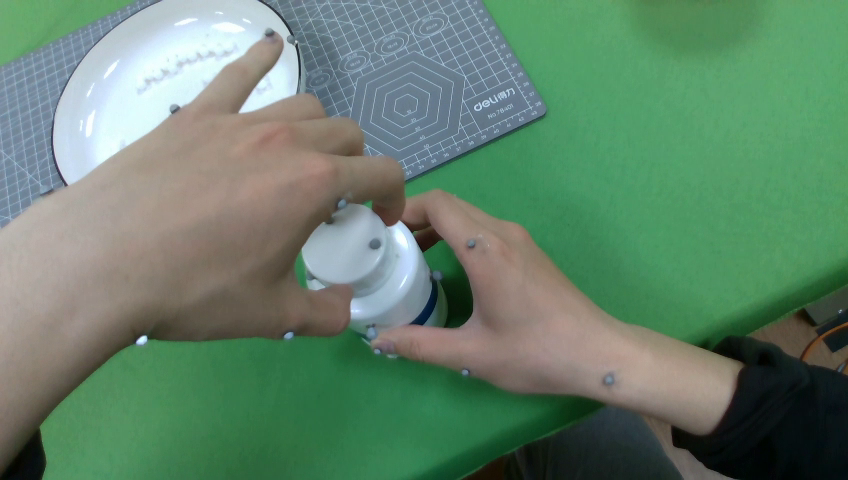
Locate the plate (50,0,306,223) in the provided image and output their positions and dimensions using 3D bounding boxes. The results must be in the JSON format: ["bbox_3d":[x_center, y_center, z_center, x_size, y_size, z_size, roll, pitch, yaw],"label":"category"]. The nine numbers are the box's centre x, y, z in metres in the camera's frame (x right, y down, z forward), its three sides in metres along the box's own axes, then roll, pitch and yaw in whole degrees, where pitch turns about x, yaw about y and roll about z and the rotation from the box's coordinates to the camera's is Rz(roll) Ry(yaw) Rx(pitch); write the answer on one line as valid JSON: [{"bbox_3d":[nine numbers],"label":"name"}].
[{"bbox_3d":[-0.187,-0.105,0.476,0.207,0.039,0.206,-4,68,10],"label":"plate"}]

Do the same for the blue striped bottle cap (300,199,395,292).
[{"bbox_3d":[-0.038,0.002,0.301,0.044,0.021,0.044,-4,67,9],"label":"blue striped bottle cap"}]

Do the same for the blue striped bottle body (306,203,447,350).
[{"bbox_3d":[-0.026,0.021,0.350,0.063,0.122,0.062,-4,67,11],"label":"blue striped bottle body"}]
